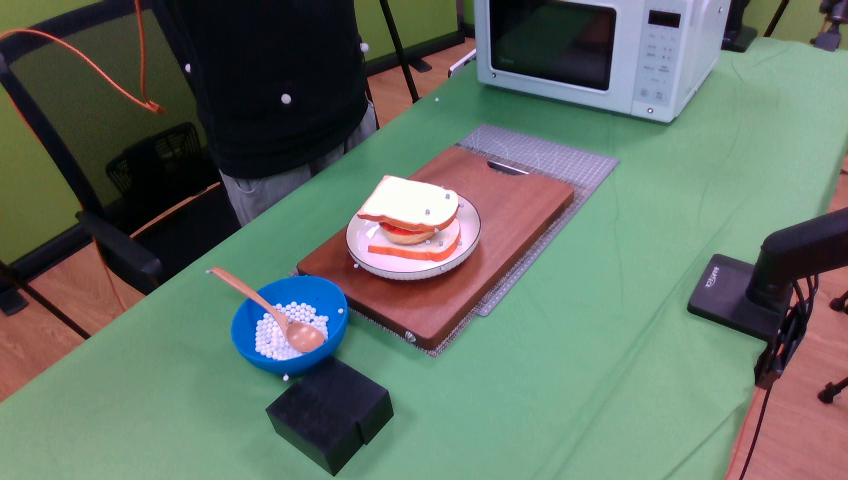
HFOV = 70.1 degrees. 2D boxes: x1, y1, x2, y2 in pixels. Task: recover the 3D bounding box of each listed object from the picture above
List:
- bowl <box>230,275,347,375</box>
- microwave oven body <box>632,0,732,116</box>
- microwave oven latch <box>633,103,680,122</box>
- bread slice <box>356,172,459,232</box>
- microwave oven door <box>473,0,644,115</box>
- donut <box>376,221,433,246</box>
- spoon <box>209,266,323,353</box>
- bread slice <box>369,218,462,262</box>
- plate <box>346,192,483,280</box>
[{"bbox_3d":[-0.170,0.125,0.802,0.151,0.077,0.150,-4,40,4],"label":"bowl"},{"bbox_3d":[0.377,-0.463,1.267,0.438,0.261,0.327,21,49,30],"label":"microwave oven body"},{"bbox_3d":[0.443,-0.249,1.158,0.078,0.029,0.030,21,49,30],"label":"microwave oven latch"},{"bbox_3d":[-0.018,-0.054,0.886,0.134,0.018,0.107,12,43,12],"label":"bread slice"},{"bbox_3d":[0.257,-0.396,1.199,0.353,0.245,0.039,21,48,29],"label":"microwave oven door"},{"bbox_3d":[-0.023,-0.031,0.906,0.099,0.048,0.098,-9,42,9],"label":"donut"},{"bbox_3d":[-0.213,0.087,0.806,0.193,0.021,0.042,36,56,11],"label":"spoon"},{"bbox_3d":[-0.008,-0.009,0.929,0.131,0.019,0.105,7,44,20],"label":"bread slice"},{"bbox_3d":[-0.013,-0.008,0.922,0.207,0.039,0.206,-4,40,4],"label":"plate"}]
